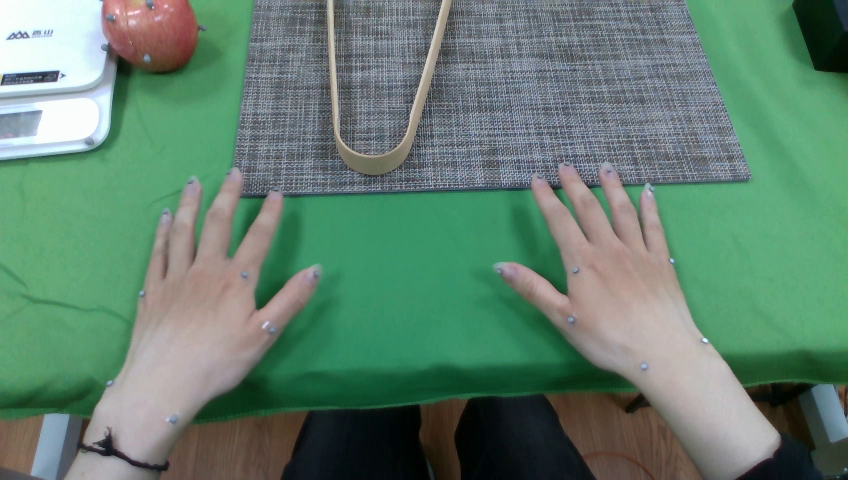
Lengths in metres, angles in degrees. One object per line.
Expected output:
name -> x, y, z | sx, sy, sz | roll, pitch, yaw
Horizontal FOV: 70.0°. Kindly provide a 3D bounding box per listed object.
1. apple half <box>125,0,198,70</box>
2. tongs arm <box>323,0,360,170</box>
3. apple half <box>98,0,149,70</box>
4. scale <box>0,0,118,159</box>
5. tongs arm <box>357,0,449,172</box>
apple half -> -0.238, -0.199, 0.559 | 0.053, 0.075, 0.080 | -10, 57, -10
tongs arm -> -0.086, -0.231, 0.603 | 0.028, 0.028, 0.384 | -2, 61, -7
apple half -> -0.276, -0.192, 0.553 | 0.033, 0.082, 0.080 | -10, 61, -10
scale -> -0.361, -0.162, 0.558 | 0.149, 0.032, 0.199 | -7, 61, -5
tongs arm -> -0.002, -0.227, 0.601 | 0.051, 0.027, 0.382 | 9, 61, 3
